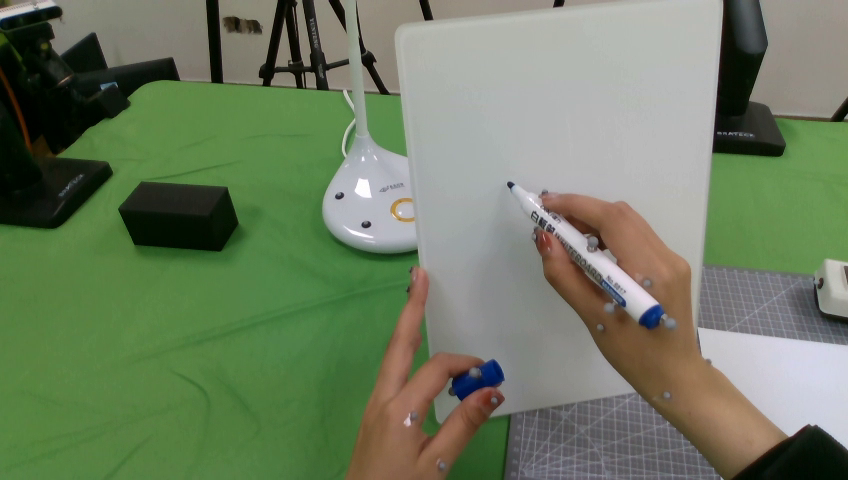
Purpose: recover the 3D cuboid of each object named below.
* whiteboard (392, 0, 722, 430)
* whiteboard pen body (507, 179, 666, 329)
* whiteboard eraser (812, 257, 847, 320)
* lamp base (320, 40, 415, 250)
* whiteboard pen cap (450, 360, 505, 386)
[{"bbox_3d":[0.093,-0.030,0.496,0.217,0.307,0.142,-8,22,-5],"label":"whiteboard"},{"bbox_3d":[0.091,0.002,0.368,0.017,0.017,0.139,-22,48,-20],"label":"whiteboard pen body"},{"bbox_3d":[0.411,0.052,0.539,0.112,0.042,0.055,11,41,15],"label":"whiteboard eraser"},{"bbox_3d":[-0.048,-0.108,0.644,0.161,0.182,0.177,-27,44,-26],"label":"lamp base"},{"bbox_3d":[0.035,0.086,0.393,0.033,0.018,0.018,-7,36,28],"label":"whiteboard pen cap"}]
